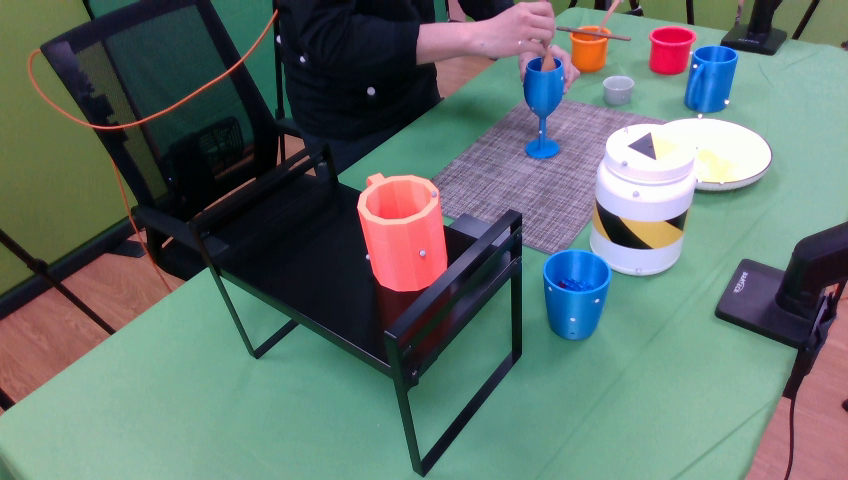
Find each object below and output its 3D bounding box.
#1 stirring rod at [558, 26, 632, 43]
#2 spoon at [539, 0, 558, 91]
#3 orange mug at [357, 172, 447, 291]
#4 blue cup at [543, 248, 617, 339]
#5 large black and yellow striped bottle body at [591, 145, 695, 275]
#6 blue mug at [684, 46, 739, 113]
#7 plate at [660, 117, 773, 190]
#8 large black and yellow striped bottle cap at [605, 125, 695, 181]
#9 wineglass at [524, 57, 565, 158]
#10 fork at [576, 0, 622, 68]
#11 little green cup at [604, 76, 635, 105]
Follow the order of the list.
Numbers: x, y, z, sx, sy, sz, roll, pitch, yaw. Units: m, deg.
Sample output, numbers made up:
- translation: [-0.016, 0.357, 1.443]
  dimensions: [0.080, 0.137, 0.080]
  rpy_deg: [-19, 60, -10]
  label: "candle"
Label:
- translation: [0.381, -0.462, 1.356]
  dimensions: [0.175, 0.006, 0.014]
  rpy_deg: [22, 49, 29]
  label: "stirring rod"
- translation: [0.204, -0.343, 1.019]
  dimensions: [0.042, 0.194, 0.021]
  rpy_deg: [-27, 36, -20]
  label: "spoon"
- translation: [-0.030, -0.018, 0.669]
  dimensions: [0.084, 0.101, 0.125]
  rpy_deg: [-23, 46, -16]
  label: "orange mug"
- translation: [0.199, 0.076, 0.797]
  dimensions: [0.092, 0.100, 0.092]
  rpy_deg: [-4, 39, 4]
  label: "blue cup"
- translation: [0.313, -0.056, 0.871]
  dimensions: [0.131, 0.185, 0.130]
  rpy_deg: [-4, 40, 4]
  label: "large black and yellow striped bottle body"
- translation: [0.556, -0.310, 1.190]
  dimensions: [0.117, 0.106, 0.081]
  rpy_deg: [-32, 46, -25]
  label: "blue mug"
- translation: [0.495, -0.149, 1.063]
  dimensions: [0.209, 0.038, 0.208]
  rpy_deg: [-5, 40, 5]
  label: "plate"
- translation: [0.304, -0.120, 0.817]
  dimensions: [0.115, 0.019, 0.114]
  rpy_deg: [-3, 41, 3]
  label: "large black and yellow striped bottle cap"
- translation: [0.219, -0.240, 1.102]
  dimensions: [0.074, 0.173, 0.073]
  rpy_deg: [-5, 41, 4]
  label: "wineglass"
- translation: [0.409, -0.484, 1.381]
  dimensions: [0.028, 0.019, 0.207]
  rpy_deg: [37, 101, 46]
  label: "fork"
- translation: [0.408, -0.311, 1.266]
  dimensions: [0.061, 0.039, 0.061]
  rpy_deg: [-4, 40, 4]
  label: "little green cup"
